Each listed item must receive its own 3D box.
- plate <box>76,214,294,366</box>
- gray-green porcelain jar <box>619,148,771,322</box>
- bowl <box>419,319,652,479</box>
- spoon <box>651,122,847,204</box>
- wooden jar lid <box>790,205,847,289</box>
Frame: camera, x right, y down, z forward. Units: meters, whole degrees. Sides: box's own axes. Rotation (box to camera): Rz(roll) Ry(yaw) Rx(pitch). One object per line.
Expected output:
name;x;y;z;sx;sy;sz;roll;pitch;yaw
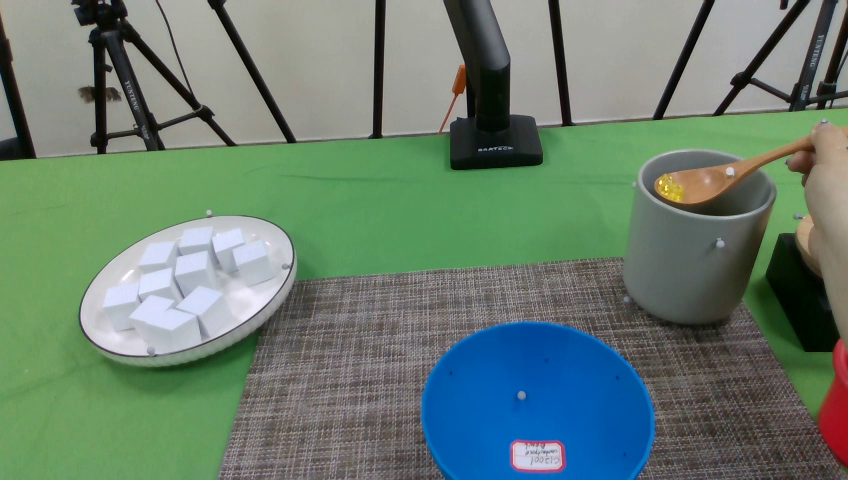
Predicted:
plate;-0.232;0.048;0.606;0.209;0.038;0.207;-4;38;4
gray-green porcelain jar;0.230;0.000;0.531;0.106;0.127;0.105;-4;38;3
bowl;0.074;0.135;0.419;0.151;0.077;0.150;-4;38;3
spoon;0.275;-0.066;0.467;0.193;0.022;0.041;-20;39;17
wooden jar lid;0.370;0.008;0.514;0.108;0.021;0.107;-4;38;4
